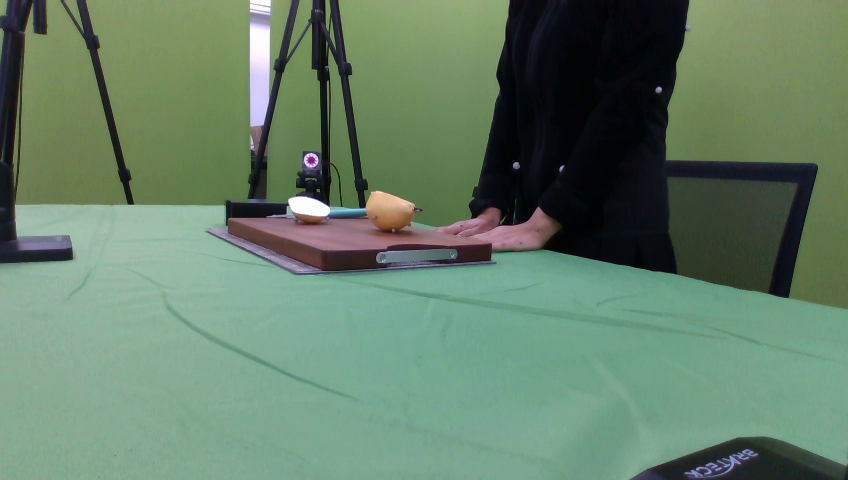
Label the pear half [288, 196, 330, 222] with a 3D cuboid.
[{"bbox_3d":[-0.202,-0.048,1.041,0.070,0.031,0.088,20,25,14],"label":"pear half"}]

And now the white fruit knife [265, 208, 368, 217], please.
[{"bbox_3d":[-0.192,-0.050,1.129,0.208,0.016,0.027,-4,-6,-25],"label":"white fruit knife"}]

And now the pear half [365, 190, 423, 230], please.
[{"bbox_3d":[-0.045,-0.042,0.955,0.077,0.056,0.109,20,-9,-41],"label":"pear half"}]
